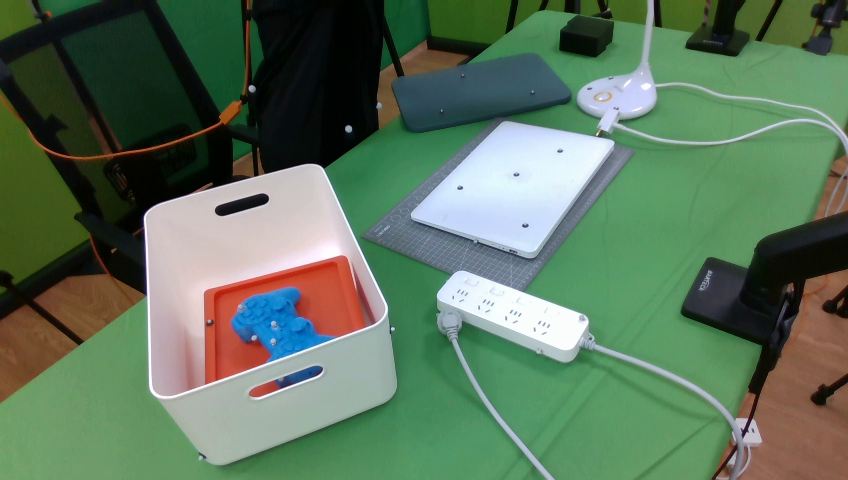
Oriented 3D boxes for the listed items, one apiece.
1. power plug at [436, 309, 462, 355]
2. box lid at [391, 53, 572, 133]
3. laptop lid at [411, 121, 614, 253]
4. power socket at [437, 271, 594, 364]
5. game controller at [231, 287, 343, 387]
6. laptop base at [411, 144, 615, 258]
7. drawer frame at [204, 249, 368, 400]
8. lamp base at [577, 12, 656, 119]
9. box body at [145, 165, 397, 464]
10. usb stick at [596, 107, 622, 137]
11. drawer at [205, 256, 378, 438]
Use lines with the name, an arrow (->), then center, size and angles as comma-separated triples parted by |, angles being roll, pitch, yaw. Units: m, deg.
power plug -> 0.033, 0.126, 0.810 | 0.035, 0.053, 0.072 | 2, 59, 7
box lid -> 0.122, -0.339, 1.366 | 0.372, 0.015, 0.261 | -12, 40, -5
laptop lid -> 0.164, -0.112, 1.068 | 0.240, 0.013, 0.357 | 19, 46, 30
power socket -> 0.118, 0.102, 0.830 | 0.225, 0.033, 0.072 | 20, 48, 28
game controller -> -0.167, 0.110, 0.734 | 0.097, 0.052, 0.154 | -35, 47, -22
laptop base -> 0.167, -0.102, 1.074 | 0.234, 0.023, 0.355 | 16, 45, 30
drawer frame -> -0.174, 0.129, 0.790 | 0.202, 0.083, 0.212 | -16, 45, -8
lamp base -> 0.404, -0.359, 1.218 | 0.180, 0.181, 0.159 | -24, 43, -23
box body -> -0.205, 0.080, 0.802 | 0.255, 0.161, 0.361 | -18, 41, -12
usb stick -> 0.355, -0.223, 1.168 | 0.027, 0.059, 0.022 | 37, 14, 34
drawer -> -0.177, 0.130, 0.787 | 0.195, 0.073, 0.210 | -14, 39, -9
